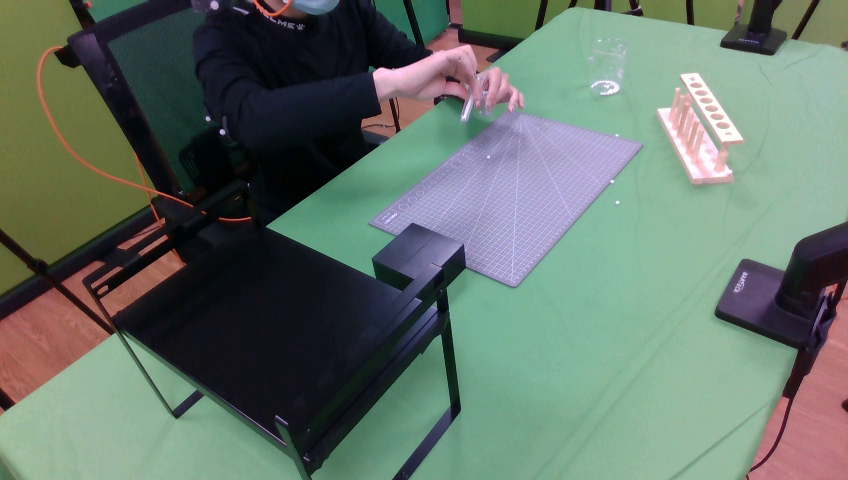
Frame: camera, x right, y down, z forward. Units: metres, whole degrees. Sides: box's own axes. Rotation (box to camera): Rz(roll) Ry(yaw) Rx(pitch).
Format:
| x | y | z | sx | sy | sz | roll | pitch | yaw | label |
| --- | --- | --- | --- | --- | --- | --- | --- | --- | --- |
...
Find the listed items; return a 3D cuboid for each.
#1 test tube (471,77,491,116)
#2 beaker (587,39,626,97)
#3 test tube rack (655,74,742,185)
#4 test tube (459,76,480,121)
| x | y | z | sx | sy | sz | roll | pitch | yaw | label |
| --- | --- | --- | --- | --- | --- | --- | --- | --- | --- |
| 0.108 | -0.264 | 1.128 | 0.017 | 0.151 | 0.017 | -2 | 79 | 14 | test tube |
| 0.386 | -0.361 | 1.280 | 0.074 | 0.101 | 0.083 | -22 | 43 | -15 | beaker |
| 0.488 | -0.205 | 1.093 | 0.067 | 0.085 | 0.241 | -3 | 41 | 5 | test tube rack |
| 0.076 | -0.235 | 1.000 | 0.017 | 0.017 | 0.150 | 3 | 38 | 12 | test tube |
